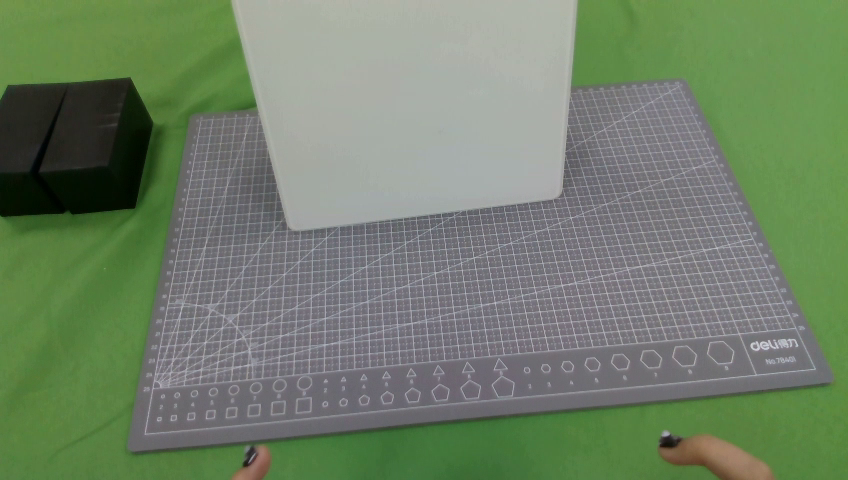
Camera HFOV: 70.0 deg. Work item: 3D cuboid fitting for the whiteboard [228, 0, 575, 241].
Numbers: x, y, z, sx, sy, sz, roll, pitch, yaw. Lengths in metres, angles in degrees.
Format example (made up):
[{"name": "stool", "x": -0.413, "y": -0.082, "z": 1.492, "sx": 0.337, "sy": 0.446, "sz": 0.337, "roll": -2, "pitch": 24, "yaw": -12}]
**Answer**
[{"name": "whiteboard", "x": -0.016, "y": -0.176, "z": 0.436, "sx": 0.217, "sy": 0.308, "sz": 0.142, "roll": -7, "pitch": 35, "yaw": -3}]
